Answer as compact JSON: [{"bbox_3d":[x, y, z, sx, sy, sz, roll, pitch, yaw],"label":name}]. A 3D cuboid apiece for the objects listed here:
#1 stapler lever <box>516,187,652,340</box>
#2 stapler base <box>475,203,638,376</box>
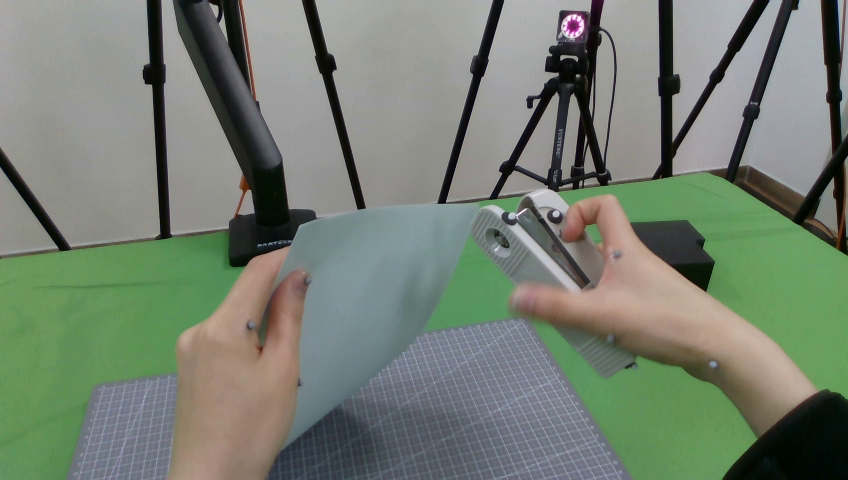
[{"bbox_3d":[0.105,0.015,0.394,0.040,0.027,0.117,-34,75,-24],"label":"stapler lever"},{"bbox_3d":[0.085,0.026,0.384,0.024,0.041,0.130,-34,75,-23],"label":"stapler base"}]
